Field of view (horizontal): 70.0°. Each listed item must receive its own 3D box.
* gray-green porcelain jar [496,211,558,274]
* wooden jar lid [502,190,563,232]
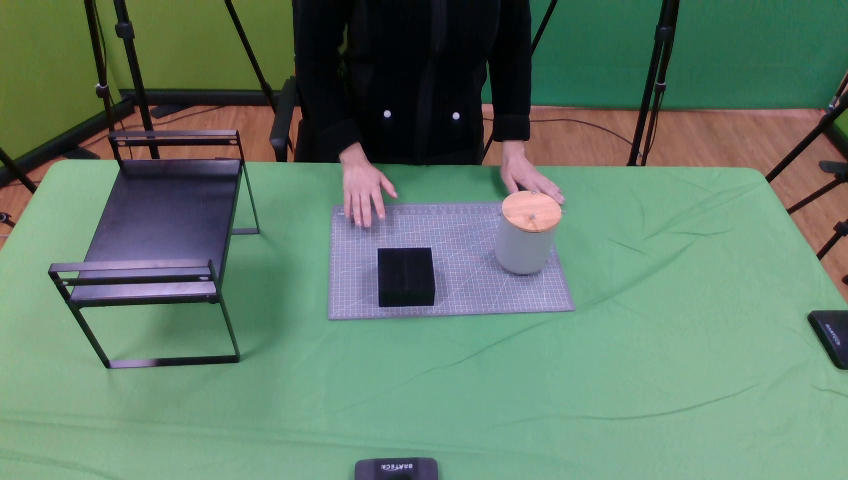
[{"bbox_3d":[0.192,-0.007,1.140,0.106,0.127,0.105,2,46,-2],"label":"gray-green porcelain jar"},{"bbox_3d":[0.195,-0.050,1.095,0.108,0.021,0.107,1,44,-1],"label":"wooden jar lid"}]
